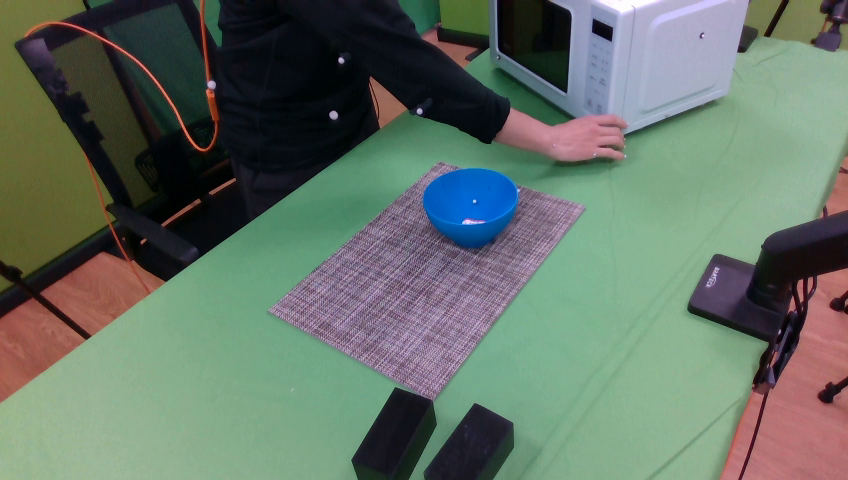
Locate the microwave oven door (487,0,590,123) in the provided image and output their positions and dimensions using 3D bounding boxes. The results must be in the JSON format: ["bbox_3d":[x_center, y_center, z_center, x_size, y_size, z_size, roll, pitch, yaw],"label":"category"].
[{"bbox_3d":[0.232,-0.420,1.231,0.039,0.245,0.352,-22,43,-16],"label":"microwave oven door"}]

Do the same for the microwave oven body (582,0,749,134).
[{"bbox_3d":[0.382,-0.445,1.246,0.327,0.261,0.437,-22,42,-16],"label":"microwave oven body"}]

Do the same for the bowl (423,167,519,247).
[{"bbox_3d":[0.075,-0.041,0.958,0.151,0.077,0.150,-4,40,4],"label":"bowl"}]

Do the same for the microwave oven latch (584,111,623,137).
[{"bbox_3d":[0.337,-0.222,1.142,0.030,0.029,0.078,-21,42,-14],"label":"microwave oven latch"}]
